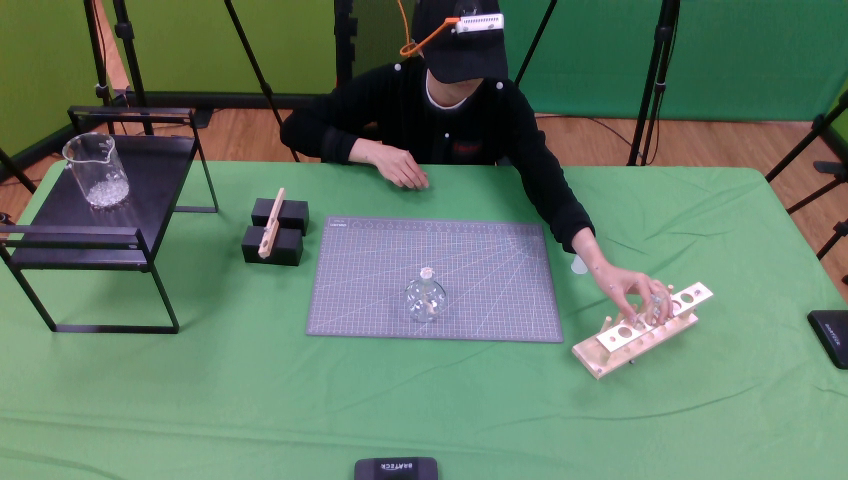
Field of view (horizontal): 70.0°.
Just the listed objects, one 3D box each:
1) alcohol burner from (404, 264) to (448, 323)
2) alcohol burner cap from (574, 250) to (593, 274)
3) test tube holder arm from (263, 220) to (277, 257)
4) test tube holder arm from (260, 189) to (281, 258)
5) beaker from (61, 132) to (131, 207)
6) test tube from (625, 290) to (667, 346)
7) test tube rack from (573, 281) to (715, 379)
[{"bbox_3d":[0.003,0.087,1.042,0.078,0.120,0.077,1,45,0],"label":"alcohol burner"},{"bbox_3d":[0.308,0.039,1.162,0.034,0.048,0.033,2,47,-2],"label":"alcohol burner cap"},{"bbox_3d":[-0.282,-0.004,1.116,0.010,0.015,0.087,2,45,-2],"label":"test tube holder arm"},{"bbox_3d":[-0.289,-0.036,1.147,0.013,0.015,0.177,0,46,-3],"label":"test tube holder arm"},{"bbox_3d":[-0.512,-0.107,0.959,0.083,0.101,0.074,29,51,22],"label":"beaker"},{"bbox_3d":[0.352,0.129,0.973,0.017,0.151,0.017,5,50,-6],"label":"test tube"},{"bbox_3d":[0.378,0.140,1.038,0.242,0.085,0.066,-22,51,-23],"label":"test tube rack"}]
